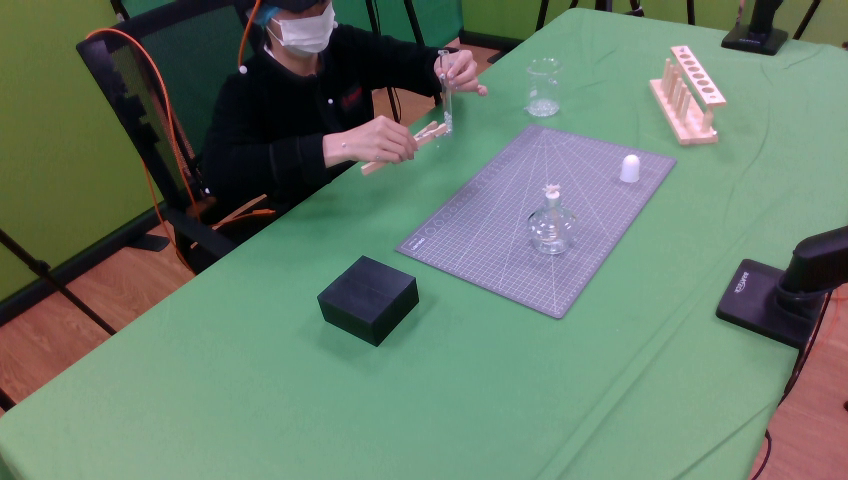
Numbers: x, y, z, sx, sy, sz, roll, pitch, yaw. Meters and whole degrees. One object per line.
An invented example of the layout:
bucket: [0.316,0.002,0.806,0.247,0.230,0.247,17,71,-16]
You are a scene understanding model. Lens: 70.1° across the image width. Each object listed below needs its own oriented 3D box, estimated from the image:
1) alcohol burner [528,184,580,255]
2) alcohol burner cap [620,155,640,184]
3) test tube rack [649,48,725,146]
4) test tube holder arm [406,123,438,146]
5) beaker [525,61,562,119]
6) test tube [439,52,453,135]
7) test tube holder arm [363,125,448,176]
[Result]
alcohol burner: [0.196,-0.036,0.911,0.078,0.119,0.077,-6,41,5]
alcohol burner cap: [0.358,-0.124,1.047,0.034,0.048,0.033,-4,40,4]
test tube rack: [0.508,-0.285,1.186,0.067,0.085,0.241,-4,40,6]
test tube holder arm: [-0.003,-0.175,1.031,0.010,0.015,0.088,11,40,32]
beaker: [0.248,-0.308,1.246,0.073,0.101,0.084,29,52,36]
test tube: [0.038,-0.247,1.030,0.017,0.151,0.017,-3,39,3]
test tube holder arm: [-0.028,-0.150,1.003,0.179,0.015,0.013,-34,37,-30]
